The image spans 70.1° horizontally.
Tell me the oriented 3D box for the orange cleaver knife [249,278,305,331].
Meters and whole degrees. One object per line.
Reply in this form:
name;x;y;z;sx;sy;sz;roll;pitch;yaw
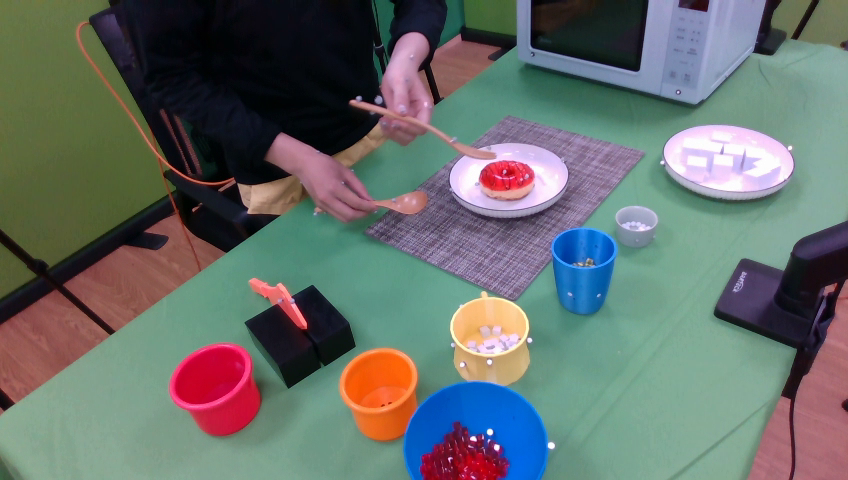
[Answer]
orange cleaver knife;-0.210;0.088;0.856;0.012;0.077;0.210;-28;15;-25

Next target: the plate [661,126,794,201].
plate;0.513;-0.128;1.035;0.207;0.039;0.206;-4;40;4

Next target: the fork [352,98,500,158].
fork;0.004;-0.148;0.802;0.208;0.018;0.028;22;36;-10

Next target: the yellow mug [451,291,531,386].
yellow mug;0.085;0.120;0.786;0.100;0.064;0.130;-7;39;1

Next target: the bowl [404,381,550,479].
bowl;0.058;0.235;0.645;0.151;0.077;0.150;-4;39;4

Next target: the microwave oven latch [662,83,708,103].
microwave oven latch;0.518;-0.297;1.204;0.078;0.029;0.030;28;52;35

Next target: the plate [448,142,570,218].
plate;0.148;-0.101;1.053;0.209;0.038;0.208;-4;40;4

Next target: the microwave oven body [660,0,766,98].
microwave oven body;0.473;-0.514;1.317;0.438;0.261;0.327;26;51;34

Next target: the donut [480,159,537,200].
donut;0.145;-0.106;1.042;0.099;0.048;0.098;-4;38;4

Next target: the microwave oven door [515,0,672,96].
microwave oven door;0.344;-0.455;1.260;0.353;0.245;0.039;26;51;33

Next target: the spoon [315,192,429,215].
spoon;-0.086;-0.057;0.981;0.193;0.022;0.041;-1;68;9

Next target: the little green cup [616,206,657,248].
little green cup;0.327;-0.019;0.935;0.061;0.039;0.061;-4;40;4

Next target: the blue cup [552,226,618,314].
blue cup;0.218;0.047;0.826;0.092;0.101;0.092;-6;40;5
